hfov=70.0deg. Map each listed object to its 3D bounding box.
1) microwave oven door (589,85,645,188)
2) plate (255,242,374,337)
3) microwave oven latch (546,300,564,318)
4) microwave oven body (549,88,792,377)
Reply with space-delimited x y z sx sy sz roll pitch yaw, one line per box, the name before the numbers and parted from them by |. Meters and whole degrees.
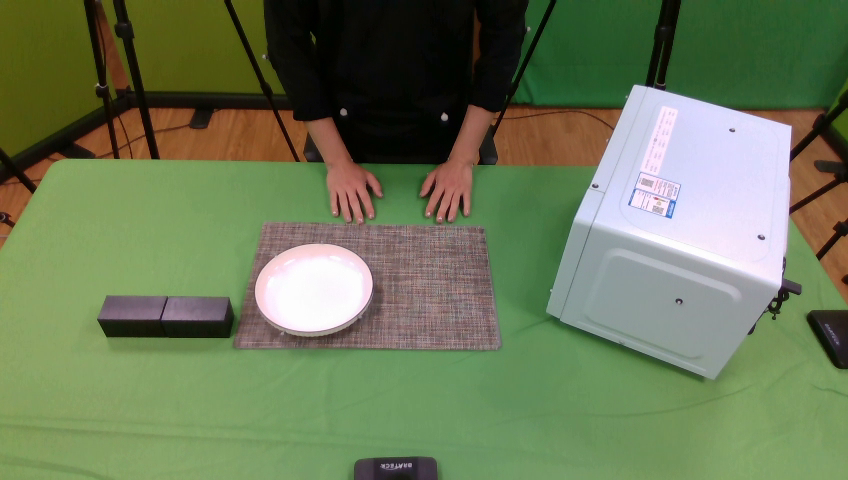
microwave oven door | 0.342 -0.107 1.149 0.039 0.245 0.354 20 48 15
plate | -0.192 0.090 1.080 0.208 0.039 0.206 2 46 -2
microwave oven latch | 0.242 0.102 1.081 0.030 0.029 0.079 21 48 17
microwave oven body | 0.456 -0.028 1.088 0.325 0.261 0.440 20 47 16
